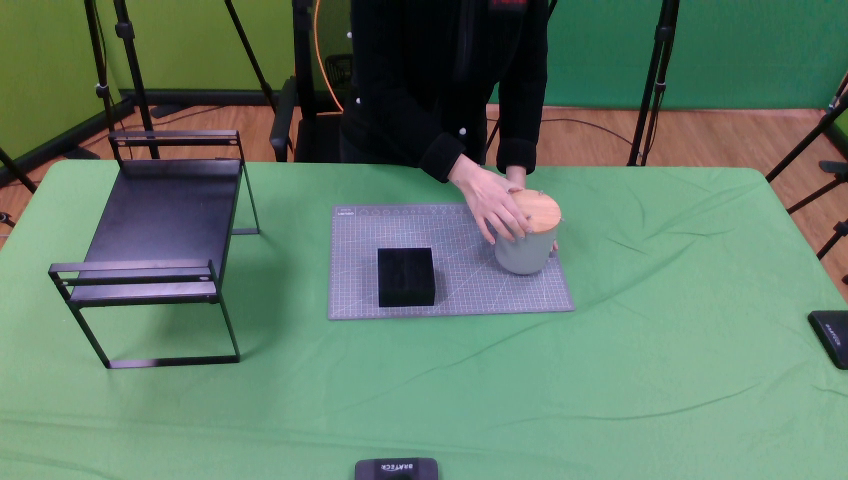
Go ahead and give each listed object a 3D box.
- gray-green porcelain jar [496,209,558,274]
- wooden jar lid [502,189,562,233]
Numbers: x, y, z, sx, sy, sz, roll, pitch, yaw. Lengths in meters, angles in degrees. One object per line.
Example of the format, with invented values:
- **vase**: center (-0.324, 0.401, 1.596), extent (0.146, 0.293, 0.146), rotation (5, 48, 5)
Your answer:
- **gray-green porcelain jar**: center (0.192, -0.007, 1.141), extent (0.106, 0.127, 0.105), rotation (2, 47, -1)
- **wooden jar lid**: center (0.194, -0.050, 1.095), extent (0.108, 0.021, 0.107), rotation (4, 47, -4)
